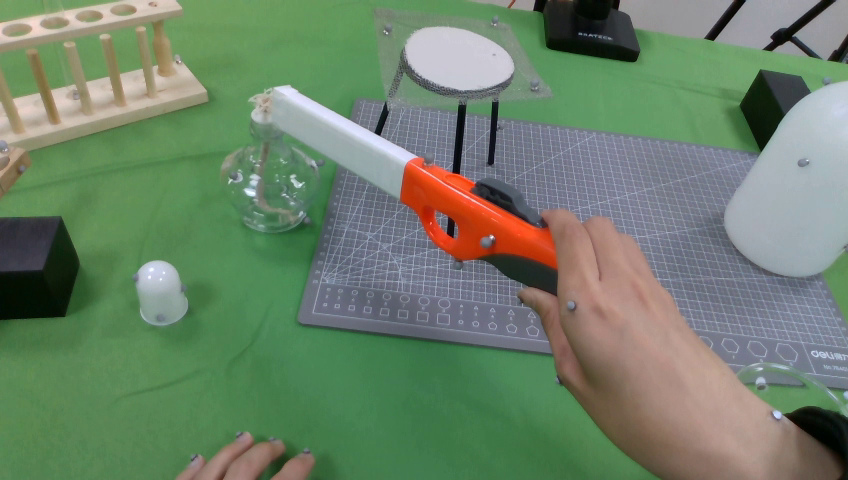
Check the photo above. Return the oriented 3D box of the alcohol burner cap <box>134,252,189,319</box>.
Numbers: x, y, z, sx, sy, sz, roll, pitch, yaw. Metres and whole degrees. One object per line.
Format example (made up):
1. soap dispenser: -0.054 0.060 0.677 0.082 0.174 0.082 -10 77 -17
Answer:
1. alcohol burner cap: -0.186 0.030 0.425 0.034 0.048 0.033 6 47 -6

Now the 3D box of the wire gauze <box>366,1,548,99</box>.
1. wire gauze: 0.021 -0.148 0.464 0.122 0.011 0.123 -2 50 -13

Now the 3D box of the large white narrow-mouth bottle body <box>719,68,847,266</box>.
1. large white narrow-mouth bottle body: 0.333 -0.073 0.500 0.102 0.196 0.101 4 47 -4

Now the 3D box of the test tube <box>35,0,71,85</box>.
1. test tube: -0.321 -0.201 0.516 0.017 0.151 0.017 5 43 -5

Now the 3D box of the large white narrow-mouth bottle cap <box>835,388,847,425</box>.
1. large white narrow-mouth bottle cap: 0.324 0.121 0.443 0.038 0.024 0.037 5 47 -5

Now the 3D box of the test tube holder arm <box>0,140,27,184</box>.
1. test tube holder arm: -0.304 -0.037 0.417 0.010 0.015 0.087 10 46 0

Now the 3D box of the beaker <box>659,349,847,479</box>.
1. beaker: 0.190 0.124 0.364 0.084 0.101 0.073 -2 47 -9

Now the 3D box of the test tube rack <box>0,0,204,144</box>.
1. test tube rack: -0.331 -0.149 0.534 0.243 0.086 0.066 -26 57 -29

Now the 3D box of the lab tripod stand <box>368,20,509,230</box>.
1. lab tripod stand: 0.017 -0.100 0.513 0.149 0.132 0.147 6 48 -6

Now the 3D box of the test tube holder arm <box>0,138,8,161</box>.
1. test tube holder arm: -0.314 -0.006 0.386 0.013 0.015 0.177 9 46 -1

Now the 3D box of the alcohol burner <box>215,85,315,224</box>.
1. alcohol burner: -0.125 -0.070 0.478 0.078 0.120 0.077 6 45 -6

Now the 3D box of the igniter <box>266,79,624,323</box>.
1. igniter: -0.003 -0.035 0.364 0.274 0.057 0.025 32 39 28
